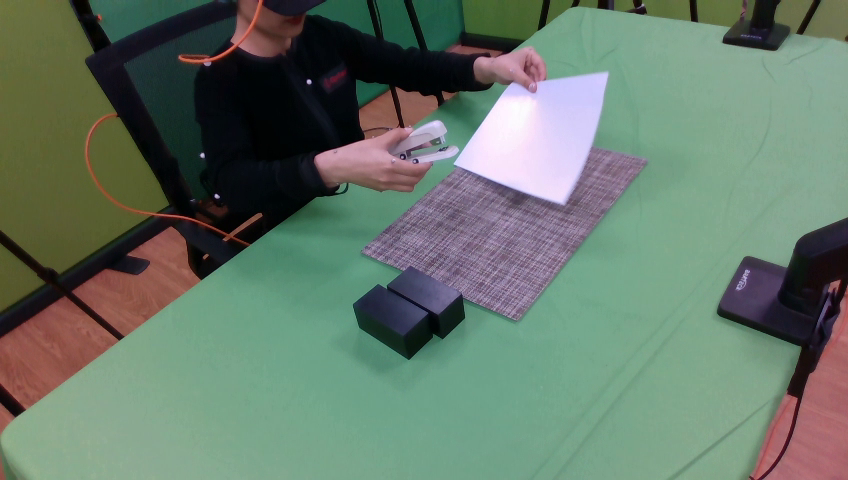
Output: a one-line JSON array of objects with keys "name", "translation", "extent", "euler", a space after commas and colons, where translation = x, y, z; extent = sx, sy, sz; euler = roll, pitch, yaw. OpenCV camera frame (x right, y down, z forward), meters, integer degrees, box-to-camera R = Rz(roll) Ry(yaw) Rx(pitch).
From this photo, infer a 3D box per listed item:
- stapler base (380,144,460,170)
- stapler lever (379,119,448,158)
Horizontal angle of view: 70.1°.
[{"name": "stapler base", "translation": [-0.009, -0.138, 0.959], "extent": [0.130, 0.024, 0.041], "euler": [-9, 19, 25]}, {"name": "stapler lever", "translation": [-0.018, -0.159, 0.951], "extent": [0.117, 0.040, 0.027], "euler": [-9, 20, 24]}]
